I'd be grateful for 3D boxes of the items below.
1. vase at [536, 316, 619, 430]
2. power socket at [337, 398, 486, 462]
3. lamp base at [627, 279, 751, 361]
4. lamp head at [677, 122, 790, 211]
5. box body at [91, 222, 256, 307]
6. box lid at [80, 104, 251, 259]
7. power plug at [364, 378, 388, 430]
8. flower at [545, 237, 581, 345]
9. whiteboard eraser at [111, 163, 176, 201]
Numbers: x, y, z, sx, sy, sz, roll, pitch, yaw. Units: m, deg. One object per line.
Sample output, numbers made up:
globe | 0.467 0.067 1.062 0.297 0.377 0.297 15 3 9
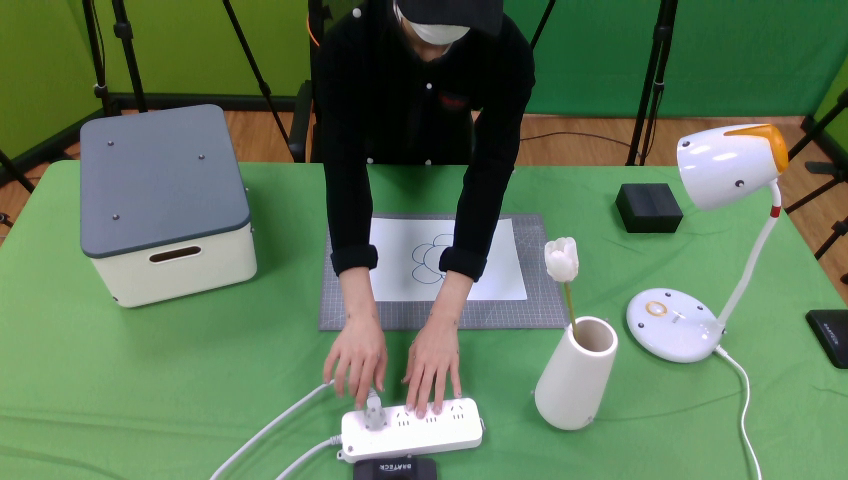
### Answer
vase | 0.229 0.200 0.901 0.098 0.201 0.097 3 46 -3
power socket | -0.018 0.285 0.914 0.227 0.033 0.071 -4 46 -8
lamp base | 0.460 0.100 1.027 0.178 0.181 0.160 27 51 17
lamp head | 0.423 -0.104 0.819 0.122 0.113 0.112 -13 33 39
box body | -0.471 -0.070 1.131 0.254 0.161 0.361 -14 49 -17
box lid | -0.467 -0.120 1.076 0.264 0.015 0.369 -13 49 -17
power plug | -0.070 0.251 0.911 0.035 0.053 0.072 4 41 1
flower | 0.213 0.137 0.846 0.038 0.364 0.044 22 55 40
whiteboard eraser | -0.568 -0.115 1.229 0.113 0.042 0.055 -19 59 -22
